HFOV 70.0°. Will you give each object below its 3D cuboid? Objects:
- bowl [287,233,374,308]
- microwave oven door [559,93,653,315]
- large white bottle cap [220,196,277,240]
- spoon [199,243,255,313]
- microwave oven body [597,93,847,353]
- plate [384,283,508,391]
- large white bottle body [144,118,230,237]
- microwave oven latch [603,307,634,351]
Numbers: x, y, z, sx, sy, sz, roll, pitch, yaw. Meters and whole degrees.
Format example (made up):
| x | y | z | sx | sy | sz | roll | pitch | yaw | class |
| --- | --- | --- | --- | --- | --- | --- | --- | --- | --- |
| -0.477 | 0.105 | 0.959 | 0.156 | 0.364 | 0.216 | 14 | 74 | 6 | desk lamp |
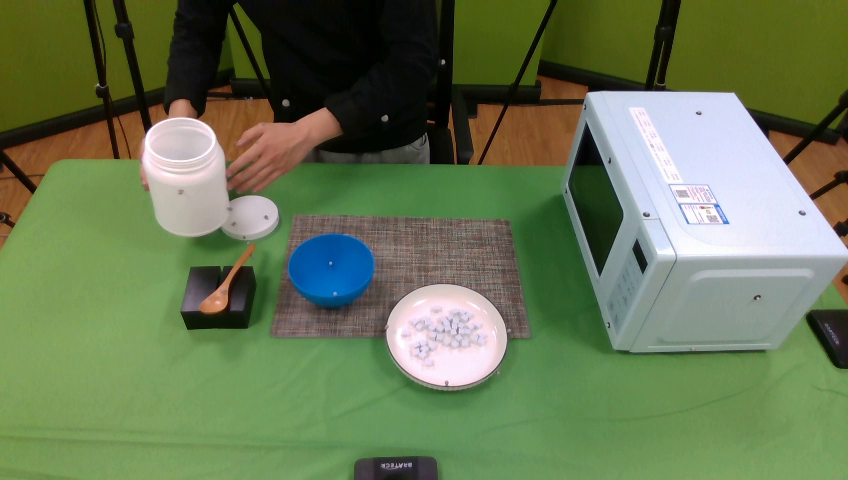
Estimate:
| x | y | z | sx | sy | sz | roll | pitch | yaw | class |
| --- | --- | --- | --- | --- | --- | --- | --- | --- | --- |
| -0.164 | 0.068 | 1.078 | 0.151 | 0.077 | 0.150 | 2 | 46 | -2 | bowl |
| 0.327 | -0.074 | 1.123 | 0.039 | 0.245 | 0.353 | -1 | 46 | -5 | microwave oven door |
| -0.355 | -0.045 | 1.220 | 0.115 | 0.018 | 0.114 | 2 | 46 | -2 | large white bottle cap |
| -0.333 | 0.062 | 1.051 | 0.041 | 0.022 | 0.193 | 8 | 40 | 8 | spoon |
| 0.475 | -0.041 | 1.109 | 0.326 | 0.261 | 0.438 | -1 | 45 | -4 | microwave oven body |
| 0.036 | 0.166 | 1.029 | 0.209 | 0.038 | 0.208 | 2 | 49 | -2 | plate |
| -0.412 | -0.108 | 1.061 | 0.131 | 0.185 | 0.130 | 7 | 50 | -8 | large white bottle body |
| 0.332 | 0.153 | 1.044 | 0.030 | 0.029 | 0.078 | 0 | 45 | -4 | microwave oven latch |
